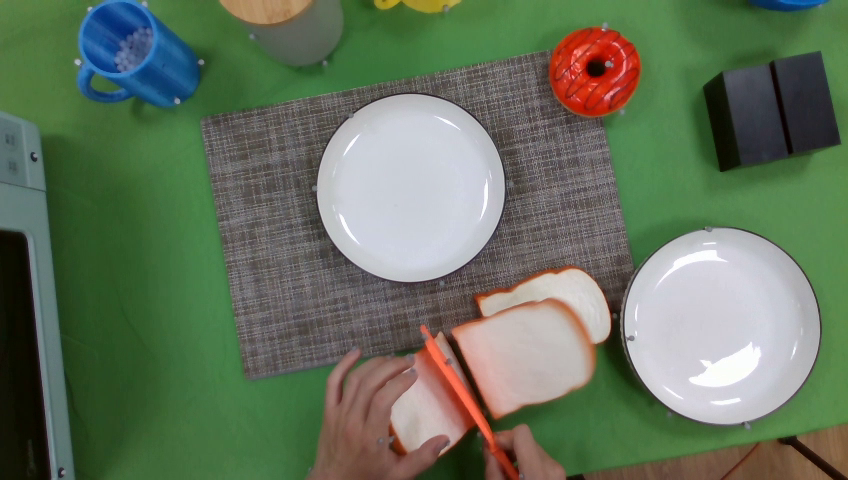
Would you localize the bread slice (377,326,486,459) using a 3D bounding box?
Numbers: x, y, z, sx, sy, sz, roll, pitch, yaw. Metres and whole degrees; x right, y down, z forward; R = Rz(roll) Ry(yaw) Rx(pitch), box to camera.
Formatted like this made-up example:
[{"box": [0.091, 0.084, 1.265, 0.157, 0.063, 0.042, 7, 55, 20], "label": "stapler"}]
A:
[{"box": [0.005, 0.158, 0.624, 0.019, 0.132, 0.105, -27, 88, 38], "label": "bread slice"}]

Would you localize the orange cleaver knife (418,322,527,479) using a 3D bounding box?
[{"box": [0.053, 0.175, 0.626, 0.012, 0.077, 0.211, -33, 94, -1], "label": "orange cleaver knife"}]

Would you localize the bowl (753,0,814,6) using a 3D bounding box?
[{"box": [0.378, -0.313, 0.646, 0.151, 0.077, 0.151, 0, 88, 3], "label": "bowl"}]

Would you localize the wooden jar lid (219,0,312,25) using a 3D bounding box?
[{"box": [-0.149, -0.256, 0.577, 0.108, 0.021, 0.108, 0, 86, 3], "label": "wooden jar lid"}]

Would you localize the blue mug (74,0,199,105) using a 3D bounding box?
[{"box": [-0.317, -0.190, 0.653, 0.116, 0.106, 0.082, -37, 86, 0], "label": "blue mug"}]

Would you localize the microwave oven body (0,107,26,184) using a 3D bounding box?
[{"box": [-0.574, 0.091, 0.570, 0.326, 0.260, 0.441, -8, 88, 1], "label": "microwave oven body"}]

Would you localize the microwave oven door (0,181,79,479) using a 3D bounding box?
[{"box": [-0.424, 0.113, 0.559, 0.039, 0.244, 0.355, -8, 87, 2], "label": "microwave oven door"}]

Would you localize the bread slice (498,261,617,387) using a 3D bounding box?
[{"box": [0.145, 0.077, 0.617, 0.135, 0.018, 0.106, -16, 81, -38], "label": "bread slice"}]

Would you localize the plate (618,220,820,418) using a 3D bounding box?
[{"box": [0.311, 0.083, 0.652, 0.209, 0.038, 0.209, 0, 88, 3], "label": "plate"}]

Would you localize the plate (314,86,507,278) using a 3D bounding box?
[{"box": [-0.014, -0.062, 0.667, 0.207, 0.039, 0.207, 0, 88, 2], "label": "plate"}]

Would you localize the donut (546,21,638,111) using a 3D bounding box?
[{"box": [0.182, -0.189, 0.661, 0.099, 0.048, 0.099, 0, 88, 2], "label": "donut"}]

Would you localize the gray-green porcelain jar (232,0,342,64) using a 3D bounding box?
[{"box": [-0.146, -0.252, 0.639, 0.106, 0.126, 0.105, 0, 87, 2], "label": "gray-green porcelain jar"}]

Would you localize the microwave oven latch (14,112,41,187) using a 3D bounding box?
[{"box": [-0.447, -0.099, 0.669, 0.030, 0.029, 0.079, -7, 88, 1], "label": "microwave oven latch"}]

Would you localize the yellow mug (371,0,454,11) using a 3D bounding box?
[{"box": [-0.008, -0.305, 0.666, 0.131, 0.064, 0.100, -43, 87, 1], "label": "yellow mug"}]
